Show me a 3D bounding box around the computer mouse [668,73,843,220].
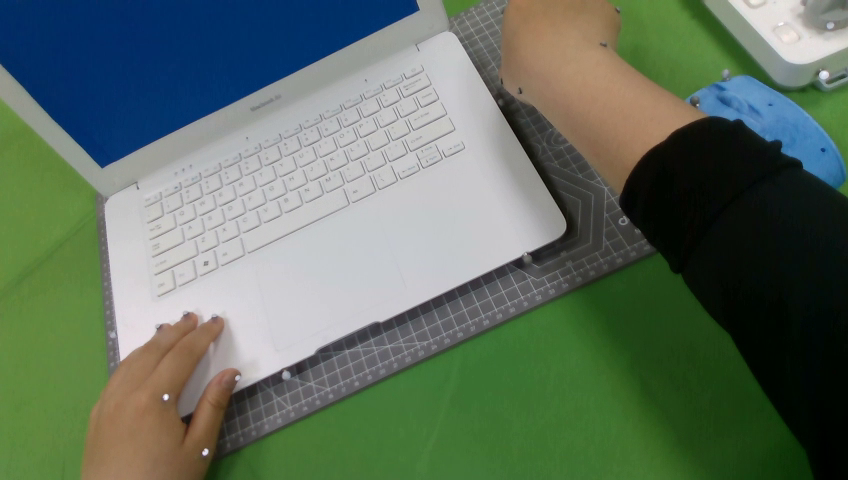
[{"bbox_3d":[0.221,-0.070,0.411,0.063,0.041,0.116,-26,55,5],"label":"computer mouse"}]

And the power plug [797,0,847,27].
[{"bbox_3d":[0.298,-0.168,0.418,0.072,0.053,0.035,-14,62,9],"label":"power plug"}]

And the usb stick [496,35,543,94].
[{"bbox_3d":[0.076,-0.150,0.504,0.021,0.027,0.058,-26,51,-1],"label":"usb stick"}]

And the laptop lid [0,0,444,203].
[{"bbox_3d":[-0.177,-0.180,0.470,0.357,0.244,0.013,-27,45,4],"label":"laptop lid"}]

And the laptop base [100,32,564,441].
[{"bbox_3d":[-0.095,-0.017,0.493,0.354,0.023,0.233,-26,62,3],"label":"laptop base"}]

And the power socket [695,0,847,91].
[{"bbox_3d":[0.254,-0.206,0.476,0.072,0.033,0.224,-24,58,5],"label":"power socket"}]
